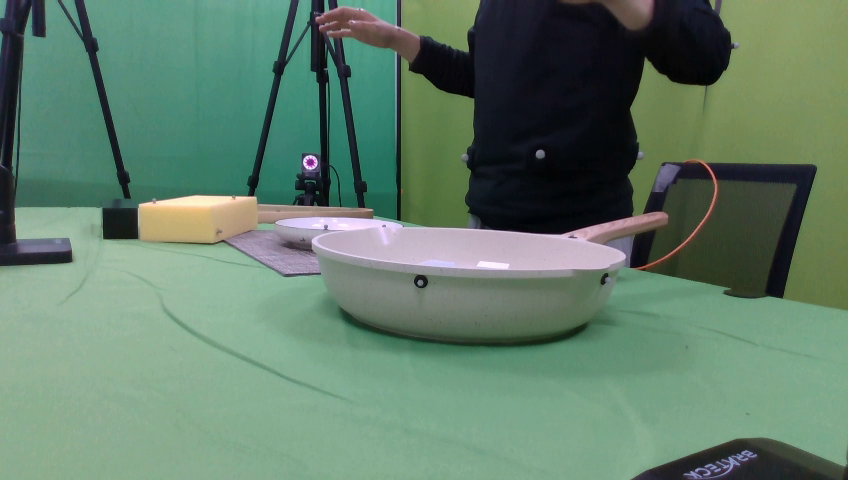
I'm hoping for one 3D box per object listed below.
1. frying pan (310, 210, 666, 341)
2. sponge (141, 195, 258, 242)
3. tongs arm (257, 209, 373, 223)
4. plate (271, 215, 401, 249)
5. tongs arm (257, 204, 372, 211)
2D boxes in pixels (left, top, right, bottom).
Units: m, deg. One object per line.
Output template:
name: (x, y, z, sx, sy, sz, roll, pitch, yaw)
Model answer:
frying pan: (0.120, 0.011, 0.643, 0.490, 0.102, 0.305, -13, 16, -36)
sponge: (-0.380, -0.040, 1.047, 0.118, 0.061, 0.207, 1, 8, 3)
tongs arm: (-0.274, -0.053, 1.347, 0.390, 0.028, 0.028, -2, 7, -37)
plate: (-0.141, -0.012, 0.978, 0.208, 0.039, 0.207, 2, 7, 0)
tongs arm: (-0.312, -0.068, 1.417, 0.387, 0.026, 0.050, 1, 8, -24)
